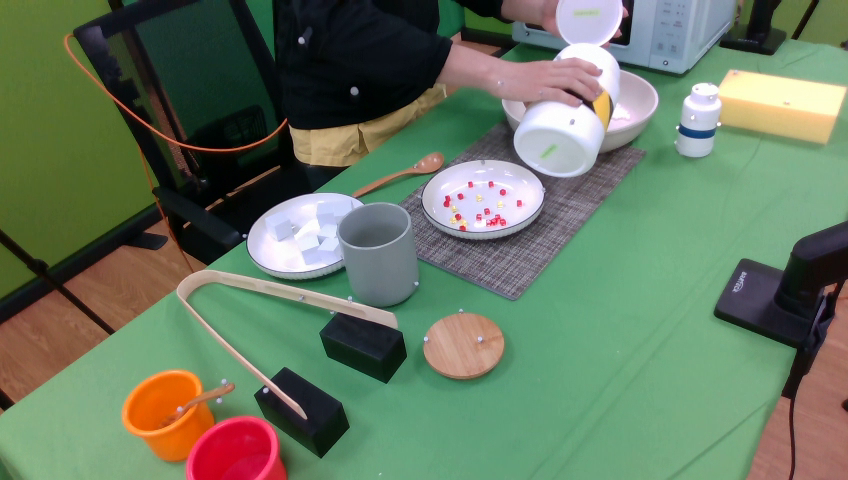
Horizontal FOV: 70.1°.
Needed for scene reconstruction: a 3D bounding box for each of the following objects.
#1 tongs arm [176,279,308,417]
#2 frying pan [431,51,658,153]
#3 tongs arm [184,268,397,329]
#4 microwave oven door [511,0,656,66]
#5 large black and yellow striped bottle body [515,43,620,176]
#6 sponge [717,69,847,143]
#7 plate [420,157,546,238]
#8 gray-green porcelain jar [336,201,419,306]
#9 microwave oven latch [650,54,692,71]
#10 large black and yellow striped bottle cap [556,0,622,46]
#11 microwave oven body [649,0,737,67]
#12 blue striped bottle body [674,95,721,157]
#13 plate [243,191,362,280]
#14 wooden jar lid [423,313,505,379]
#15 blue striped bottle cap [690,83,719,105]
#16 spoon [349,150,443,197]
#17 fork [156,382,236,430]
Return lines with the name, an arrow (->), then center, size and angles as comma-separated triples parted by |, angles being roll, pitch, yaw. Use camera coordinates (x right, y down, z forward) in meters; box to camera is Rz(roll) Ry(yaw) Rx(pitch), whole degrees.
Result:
tongs arm -> -0.255, 0.131, 0.801 | 0.028, 0.028, 0.384 | -40, 40, -23
frying pan -> 0.216, -0.302, 1.223 | 0.484, 0.103, 0.308 | 29, 50, 24
tongs arm -> -0.203, 0.084, 0.848 | 0.382, 0.027, 0.051 | 11, 44, 35
microwave oven door -> 0.351, -0.540, 1.349 | 0.353, 0.245, 0.039 | 24, 50, 31
large black and yellow striped bottle body -> 0.235, -0.210, 0.964 | 0.130, 0.131, 0.184 | 15, 64, 23
sponge -> 0.663, -0.256, 1.142 | 0.205, 0.061, 0.118 | 19, 47, 28
plate -> 0.099, -0.067, 1.017 | 0.209, 0.038, 0.208 | -4, 40, 4
gray-green porcelain jar -> -0.064, 0.024, 0.872 | 0.106, 0.127, 0.105 | -4, 41, 4
microwave oven latch -> 0.530, -0.386, 1.301 | 0.078, 0.029, 0.030 | 23, 50, 32
large black and yellow striped bottle cap -> 0.287, -0.395, 1.053 | 0.115, 0.115, 0.018 | -8, 23, -1
microwave oven body -> 0.475, -0.602, 1.411 | 0.438, 0.261, 0.327 | 23, 50, 32
blue striped bottle body -> 0.486, -0.213, 1.072 | 0.063, 0.121, 0.063 | -4, 41, 4
plate -> -0.188, -0.005, 0.992 | 0.207, 0.039, 0.206 | -4, 41, 4
wooden jar lid -> 0.053, 0.142, 0.800 | 0.108, 0.021, 0.108 | -5, 39, 4
blue striped bottle cap -> 0.481, -0.251, 1.038 | 0.044, 0.021, 0.044 | -5, 40, 5
spoon -> -0.051, -0.123, 1.120 | 0.194, 0.022, 0.041 | -23, 59, -18
fork -> -0.262, 0.189, 0.690 | 0.018, 0.206, 0.028 | 49, 43, -7
